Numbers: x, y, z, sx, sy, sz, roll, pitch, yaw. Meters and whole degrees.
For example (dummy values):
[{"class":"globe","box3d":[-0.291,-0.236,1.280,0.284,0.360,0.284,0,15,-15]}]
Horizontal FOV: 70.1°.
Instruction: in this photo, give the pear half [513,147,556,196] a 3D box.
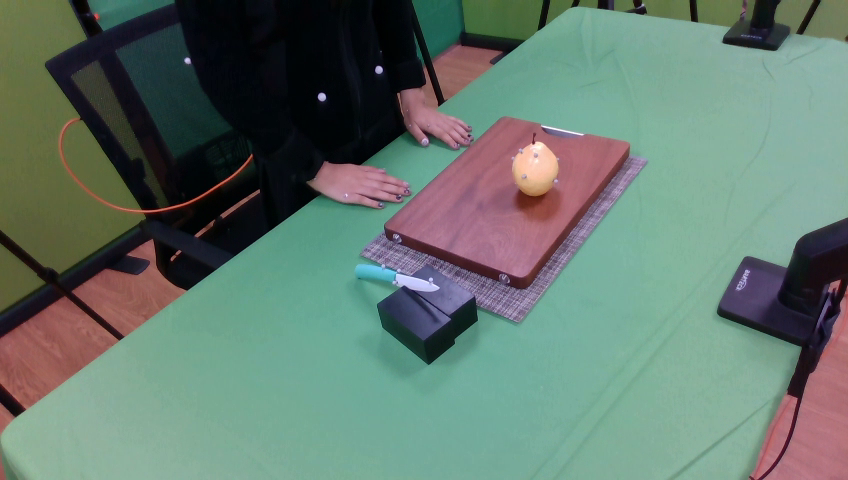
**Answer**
[{"class":"pear half","box3d":[0.178,-0.106,0.977,0.070,0.088,0.031,7,43,12]}]

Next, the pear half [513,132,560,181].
[{"class":"pear half","box3d":[0.186,-0.136,0.996,0.076,0.110,0.056,6,42,13]}]

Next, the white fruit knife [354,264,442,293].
[{"class":"white fruit knife","box3d":[-0.041,0.055,0.867,0.016,0.027,0.205,-31,23,-34]}]
